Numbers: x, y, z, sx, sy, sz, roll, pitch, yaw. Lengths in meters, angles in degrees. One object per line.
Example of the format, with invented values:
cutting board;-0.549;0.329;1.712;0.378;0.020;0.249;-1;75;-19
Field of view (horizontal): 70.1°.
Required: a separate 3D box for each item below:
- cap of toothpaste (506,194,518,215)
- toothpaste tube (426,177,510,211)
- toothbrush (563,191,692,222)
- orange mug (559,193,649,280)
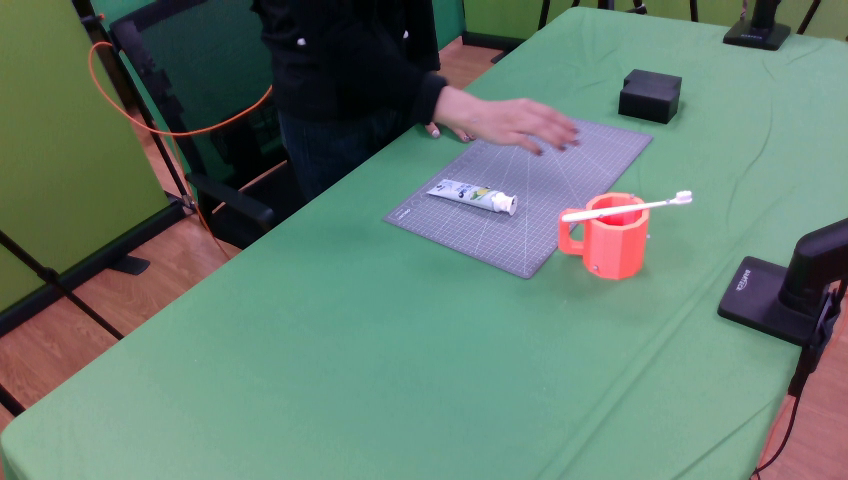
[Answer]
cap of toothpaste;0.146;-0.059;1.008;0.011;0.037;0.037;14;46;22
toothpaste tube;0.083;-0.081;1.054;0.164;0.034;0.055;18;40;34
toothbrush;0.284;-0.045;0.842;0.182;0.017;0.014;-9;42;0
orange mug;0.261;-0.008;0.884;0.126;0.101;0.083;9;43;14
